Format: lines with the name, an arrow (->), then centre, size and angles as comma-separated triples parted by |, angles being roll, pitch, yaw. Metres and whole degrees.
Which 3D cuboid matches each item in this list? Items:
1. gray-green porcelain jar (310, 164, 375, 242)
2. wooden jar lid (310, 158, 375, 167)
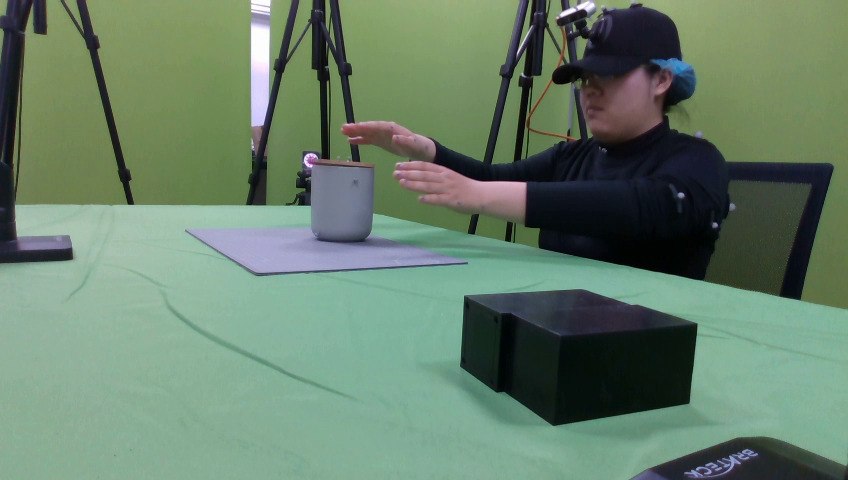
gray-green porcelain jar -> -0.139, -0.064, 1.025 | 0.106, 0.126, 0.106 | 3, 8, 0
wooden jar lid -> -0.137, -0.125, 1.017 | 0.108, 0.020, 0.108 | 4, 8, 0
